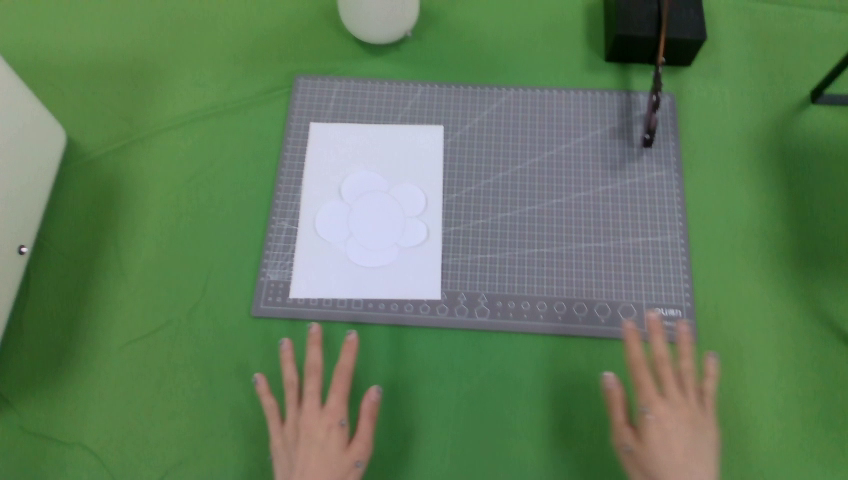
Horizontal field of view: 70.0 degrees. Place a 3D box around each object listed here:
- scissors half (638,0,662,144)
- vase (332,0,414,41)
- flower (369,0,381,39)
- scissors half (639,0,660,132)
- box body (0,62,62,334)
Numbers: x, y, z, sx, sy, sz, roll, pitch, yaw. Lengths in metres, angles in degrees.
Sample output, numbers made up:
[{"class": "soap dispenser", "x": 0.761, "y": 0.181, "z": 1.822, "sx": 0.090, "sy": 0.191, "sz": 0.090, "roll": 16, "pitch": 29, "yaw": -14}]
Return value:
[{"class": "scissors half", "x": 0.256, "y": -0.193, "z": 0.679, "sx": 0.012, "sy": 0.040, "sz": 0.175, "roll": 8, "pitch": 87, "yaw": 18}, {"class": "vase", "x": -0.063, "y": -0.316, "z": 0.664, "sx": 0.098, "sy": 0.201, "sz": 0.097, "roll": -1, "pitch": 67, "yaw": 2}, {"class": "flower", "x": -0.071, "y": -0.359, "z": 0.592, "sx": 0.044, "sy": 0.365, "sz": 0.038, "roll": -4, "pitch": 51, "yaw": 3}, {"class": "scissors half", "x": 0.251, "y": -0.198, "z": 0.660, "sx": 0.013, "sy": 0.040, "sz": 0.174, "roll": 8, "pitch": 69, "yaw": 13}, {"class": "box body", "x": -0.536, "y": -0.007, "z": 0.568, "sx": 0.254, "sy": 0.161, "sz": 0.361, "roll": 3, "pitch": 69, "yaw": 2}]
